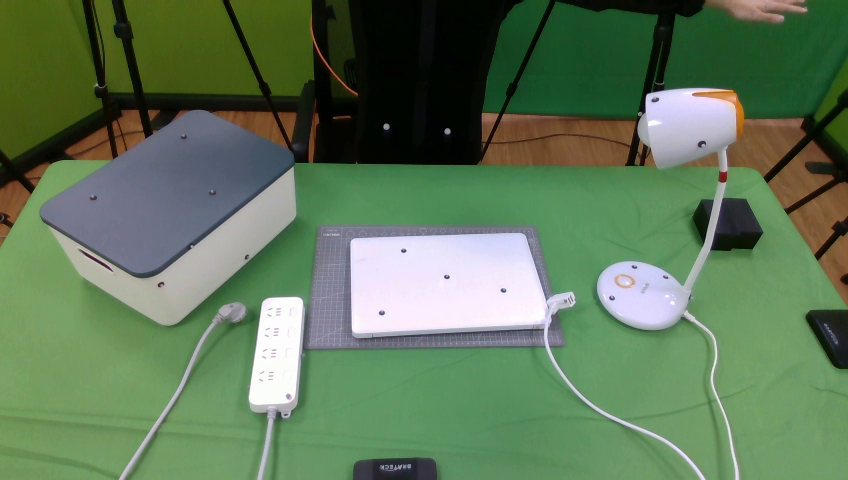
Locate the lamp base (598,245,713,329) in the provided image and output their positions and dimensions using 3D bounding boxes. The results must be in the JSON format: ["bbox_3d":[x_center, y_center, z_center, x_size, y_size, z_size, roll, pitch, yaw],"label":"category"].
[{"bbox_3d":[0.420,0.051,1.071,0.179,0.181,0.160,22,49,13],"label":"lamp base"}]

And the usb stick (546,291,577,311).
[{"bbox_3d":[0.241,0.111,1.086,0.027,0.059,0.021,-36,102,-42],"label":"usb stick"}]

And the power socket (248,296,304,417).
[{"bbox_3d":[-0.240,0.182,0.996,0.072,0.033,0.225,-2,47,-4],"label":"power socket"}]

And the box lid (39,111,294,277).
[{"bbox_3d":[-0.434,-0.097,1.055,0.262,0.015,0.370,25,49,18],"label":"box lid"}]

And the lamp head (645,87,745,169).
[{"bbox_3d":[0.382,-0.161,0.852,0.122,0.113,0.112,-4,42,25],"label":"lamp head"}]

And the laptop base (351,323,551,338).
[{"bbox_3d":[0.040,0.080,1.125,0.355,0.023,0.234,-2,43,-6],"label":"laptop base"}]

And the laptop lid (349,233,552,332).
[{"bbox_3d":[0.040,0.070,1.119,0.357,0.013,0.240,-1,44,-5],"label":"laptop lid"}]

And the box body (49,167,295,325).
[{"bbox_3d":[-0.437,-0.046,1.110,0.253,0.161,0.363,24,49,19],"label":"box body"}]

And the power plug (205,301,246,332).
[{"bbox_3d":[-0.337,0.132,1.032,0.072,0.053,0.035,-35,59,-12],"label":"power plug"}]
